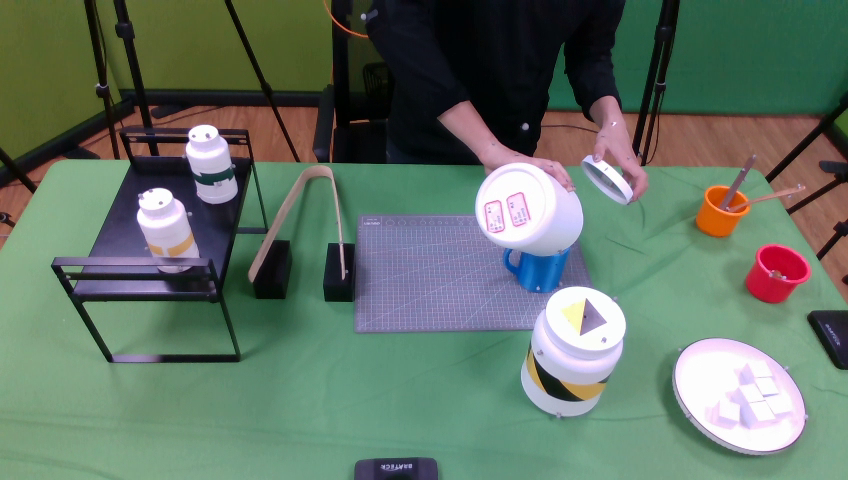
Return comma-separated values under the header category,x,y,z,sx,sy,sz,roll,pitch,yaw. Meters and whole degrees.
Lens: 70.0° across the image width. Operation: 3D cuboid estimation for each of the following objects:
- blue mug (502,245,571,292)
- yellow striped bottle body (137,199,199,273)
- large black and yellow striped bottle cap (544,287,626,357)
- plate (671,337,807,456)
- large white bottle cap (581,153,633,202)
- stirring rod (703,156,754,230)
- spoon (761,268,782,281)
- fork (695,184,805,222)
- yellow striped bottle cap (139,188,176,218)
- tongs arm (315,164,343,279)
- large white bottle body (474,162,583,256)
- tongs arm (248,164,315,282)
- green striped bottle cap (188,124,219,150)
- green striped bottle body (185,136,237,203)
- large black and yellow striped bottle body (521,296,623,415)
category,x,y,z,sx,sy,sz,roll,pitch,yaw
blue mug,0.203,0.031,1.121,0.116,0.106,0.082,5,46,1
yellow striped bottle body,-0.366,-0.014,0.863,0.063,0.121,0.062,2,46,-2
large black and yellow striped bottle cap,0.232,0.116,0.876,0.115,0.019,0.114,2,46,-1
plate,0.504,0.253,0.984,0.208,0.039,0.206,2,46,-2
large white bottle cap,0.337,-0.115,1.118,0.018,0.115,0.114,-45,57,5
stirring rod,0.631,-0.097,1.258,0.014,0.006,0.176,33,95,29
spoon,0.638,0.060,1.105,0.041,0.021,0.194,38,11,24
fork,0.657,-0.075,1.230,0.207,0.019,0.028,-23,34,37
yellow striped bottle cap,-0.363,-0.050,0.826,0.044,0.019,0.044,0,47,0
tongs arm,-0.188,-0.049,1.170,0.051,0.026,0.382,-6,35,-6
large white bottle body,0.176,-0.043,0.972,0.130,0.130,0.185,40,14,29
tongs arm,-0.269,-0.047,1.166,0.028,0.028,0.385,-1,34,7
green striped bottle cap,-0.339,-0.158,0.931,0.044,0.020,0.044,4,46,-4
green striped bottle body,-0.341,-0.121,0.968,0.063,0.120,0.063,2,46,-2
large black and yellow striped bottle body,0.228,0.173,0.938,0.131,0.185,0.130,2,47,-2
